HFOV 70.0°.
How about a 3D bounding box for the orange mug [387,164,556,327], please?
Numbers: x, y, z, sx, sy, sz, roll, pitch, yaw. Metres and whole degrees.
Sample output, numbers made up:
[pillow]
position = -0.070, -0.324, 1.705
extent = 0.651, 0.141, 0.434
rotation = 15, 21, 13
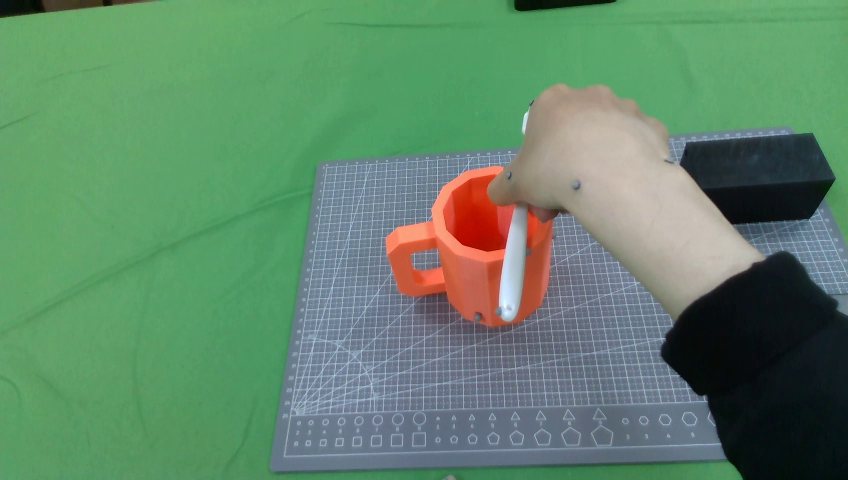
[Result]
[orange mug]
position = 0.037, 0.008, 0.463
extent = 0.126, 0.102, 0.082
rotation = -8, 54, -2

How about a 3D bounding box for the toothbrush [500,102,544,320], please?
[toothbrush]
position = 0.069, -0.028, 0.416
extent = 0.014, 0.017, 0.180
rotation = 15, 58, -4
